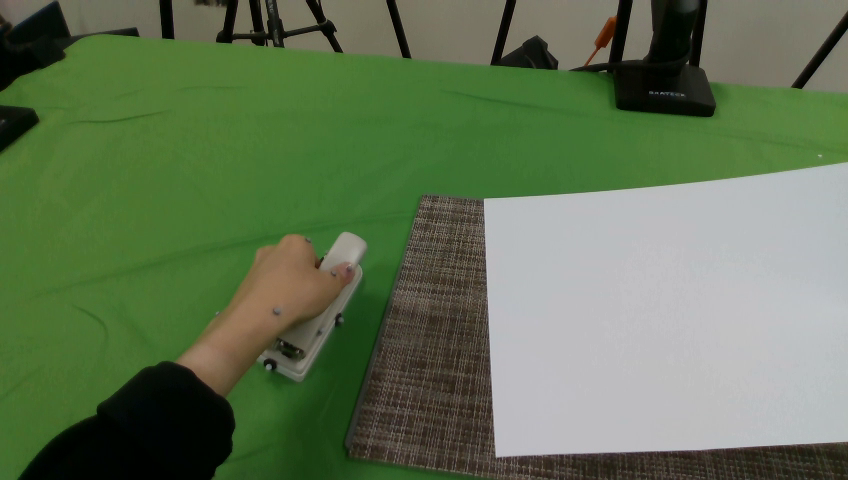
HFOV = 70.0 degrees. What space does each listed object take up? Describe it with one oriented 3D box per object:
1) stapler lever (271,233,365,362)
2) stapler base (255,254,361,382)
[{"bbox_3d":[-0.081,0.041,0.485,0.027,0.040,0.117,27,46,-1],"label":"stapler lever"},{"bbox_3d":[-0.089,0.054,0.503,0.041,0.024,0.130,27,47,-1],"label":"stapler base"}]
